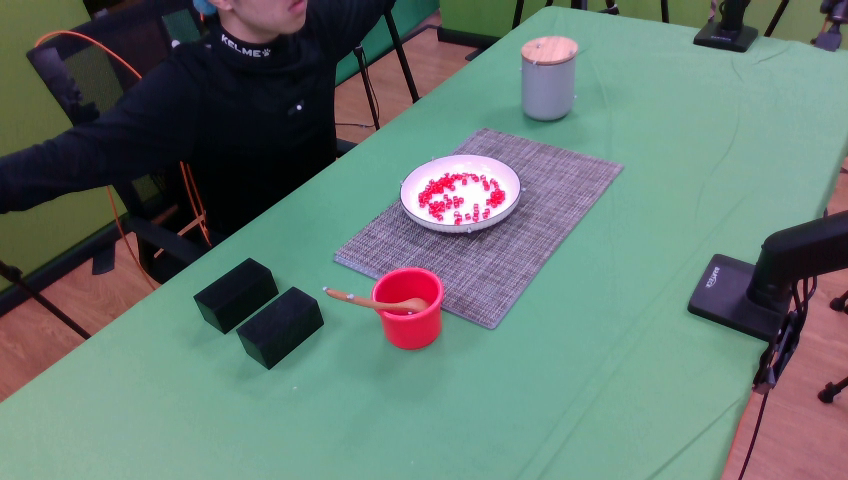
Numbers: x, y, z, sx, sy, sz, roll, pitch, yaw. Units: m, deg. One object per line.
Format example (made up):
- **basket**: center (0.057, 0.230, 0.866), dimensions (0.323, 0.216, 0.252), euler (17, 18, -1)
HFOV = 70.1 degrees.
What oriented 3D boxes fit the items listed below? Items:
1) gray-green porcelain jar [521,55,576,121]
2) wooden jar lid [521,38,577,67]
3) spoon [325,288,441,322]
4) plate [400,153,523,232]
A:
- **gray-green porcelain jar**: center (0.249, -0.313, 1.219), dimensions (0.106, 0.127, 0.105), euler (-4, 41, 4)
- **wooden jar lid**: center (0.243, -0.362, 1.177), dimensions (0.108, 0.021, 0.108), euler (-5, 43, 5)
- **spoon**: center (-0.047, 0.084, 0.776), dimensions (0.195, 0.021, 0.041), euler (13, 26, -42)
- **plate**: center (0.065, -0.078, 1.034), dimensions (0.207, 0.039, 0.206), euler (-4, 41, 4)
